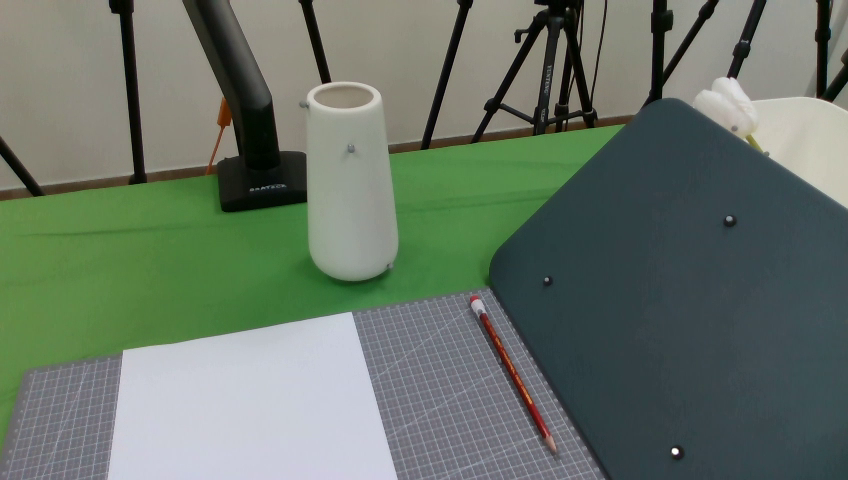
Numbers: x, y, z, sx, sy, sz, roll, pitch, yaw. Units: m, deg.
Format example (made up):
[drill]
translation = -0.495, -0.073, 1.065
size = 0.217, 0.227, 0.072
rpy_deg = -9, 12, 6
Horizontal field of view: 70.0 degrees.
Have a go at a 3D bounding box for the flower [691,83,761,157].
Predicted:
[flower]
translation = 0.352, 0.011, 0.529
size = 0.044, 0.038, 0.359
rpy_deg = -29, 73, 1

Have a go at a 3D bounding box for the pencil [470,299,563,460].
[pencil]
translation = 0.081, 0.119, 0.554
size = 0.012, 0.012, 0.192
rpy_deg = -10, 39, -15

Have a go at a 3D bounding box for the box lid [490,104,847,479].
[box lid]
translation = 0.210, 0.050, 0.504
size = 0.015, 0.263, 0.367
rpy_deg = 34, 18, -36

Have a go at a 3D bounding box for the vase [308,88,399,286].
[vase]
translation = -0.076, -0.050, 0.624
size = 0.098, 0.201, 0.097
rpy_deg = 0, 35, 0

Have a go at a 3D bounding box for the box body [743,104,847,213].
[box body]
translation = 0.380, 0.021, 0.581
size = 0.255, 0.162, 0.360
rpy_deg = -9, 37, -14
